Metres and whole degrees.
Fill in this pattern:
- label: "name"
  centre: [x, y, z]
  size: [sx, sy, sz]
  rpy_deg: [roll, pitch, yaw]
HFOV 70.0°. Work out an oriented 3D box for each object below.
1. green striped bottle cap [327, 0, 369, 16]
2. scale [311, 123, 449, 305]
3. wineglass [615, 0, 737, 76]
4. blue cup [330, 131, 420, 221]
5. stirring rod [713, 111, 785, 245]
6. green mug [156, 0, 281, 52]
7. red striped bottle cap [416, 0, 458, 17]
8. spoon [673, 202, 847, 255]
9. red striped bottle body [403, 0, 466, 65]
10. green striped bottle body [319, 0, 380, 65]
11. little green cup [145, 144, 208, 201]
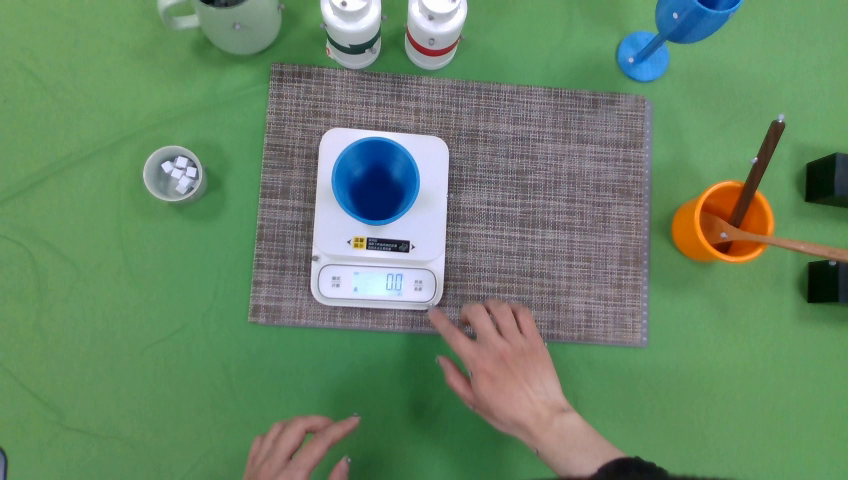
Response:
- label: "green striped bottle cap"
  centre: [-0.077, -0.250, 0.609]
  size: [0.044, 0.020, 0.044]
  rpy_deg: [1, 84, -5]
- label: "scale"
  centre: [-0.048, -0.029, 0.682]
  size: [0.149, 0.031, 0.200]
  rpy_deg: [3, 84, -4]
- label: "wineglass"
  centre: [0.273, -0.243, 0.662]
  size: [0.074, 0.172, 0.073]
  rpy_deg: [0, 83, -4]
- label: "blue cup"
  centre: [-0.049, -0.057, 0.619]
  size: [0.093, 0.100, 0.092]
  rpy_deg: [0, 86, -4]
- label: "stirring rod"
  centre: [0.353, -0.061, 0.663]
  size: [0.014, 0.177, 0.006]
  rpy_deg: [11, 42, 10]
- label: "green mug"
  centre: [-0.224, -0.260, 0.658]
  size: [0.125, 0.105, 0.092]
  rpy_deg: [-18, 86, -6]
- label: "red striped bottle cap"
  centre: [0.014, -0.252, 0.616]
  size: [0.044, 0.018, 0.044]
  rpy_deg: [1, 82, -8]
- label: "spoon"
  centre: [0.369, -0.008, 0.659]
  size: [0.022, 0.192, 0.041]
  rpy_deg: [18, 89, -46]
- label: "red striped bottle body"
  centre: [0.010, -0.246, 0.668]
  size: [0.063, 0.120, 0.063]
  rpy_deg: [1, 83, -4]
- label: "green striped bottle body"
  centre: [-0.079, -0.244, 0.660]
  size: [0.063, 0.119, 0.063]
  rpy_deg: [1, 83, -4]
- label: "little green cup"
  centre: [-0.270, -0.072, 0.668]
  size: [0.061, 0.038, 0.061]
  rpy_deg: [1, 84, -6]
